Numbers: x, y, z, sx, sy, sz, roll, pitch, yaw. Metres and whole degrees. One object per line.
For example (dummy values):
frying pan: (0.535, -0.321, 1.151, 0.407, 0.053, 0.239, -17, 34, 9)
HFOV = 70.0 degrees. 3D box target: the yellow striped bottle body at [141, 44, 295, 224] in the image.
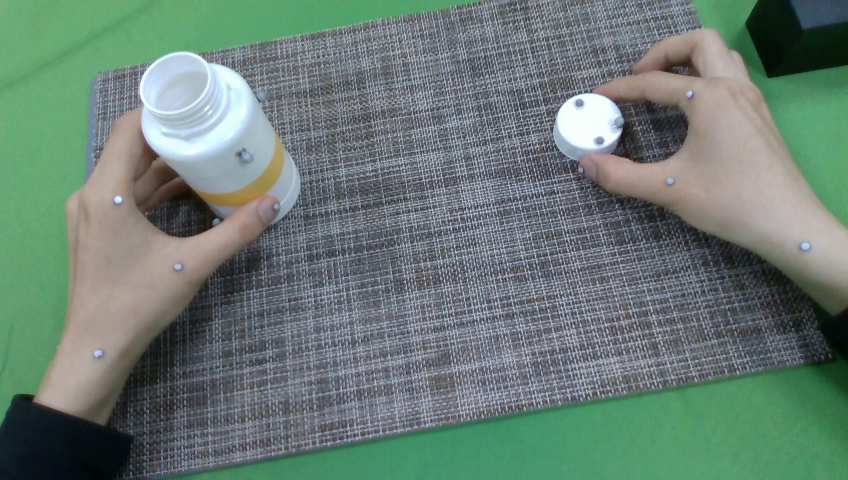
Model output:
yellow striped bottle body: (-0.122, -0.062, 0.362, 0.063, 0.121, 0.062, -1, 67, 3)

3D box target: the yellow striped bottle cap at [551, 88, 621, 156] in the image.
yellow striped bottle cap: (0.109, -0.079, 0.407, 0.044, 0.019, 0.044, -1, 68, 2)
